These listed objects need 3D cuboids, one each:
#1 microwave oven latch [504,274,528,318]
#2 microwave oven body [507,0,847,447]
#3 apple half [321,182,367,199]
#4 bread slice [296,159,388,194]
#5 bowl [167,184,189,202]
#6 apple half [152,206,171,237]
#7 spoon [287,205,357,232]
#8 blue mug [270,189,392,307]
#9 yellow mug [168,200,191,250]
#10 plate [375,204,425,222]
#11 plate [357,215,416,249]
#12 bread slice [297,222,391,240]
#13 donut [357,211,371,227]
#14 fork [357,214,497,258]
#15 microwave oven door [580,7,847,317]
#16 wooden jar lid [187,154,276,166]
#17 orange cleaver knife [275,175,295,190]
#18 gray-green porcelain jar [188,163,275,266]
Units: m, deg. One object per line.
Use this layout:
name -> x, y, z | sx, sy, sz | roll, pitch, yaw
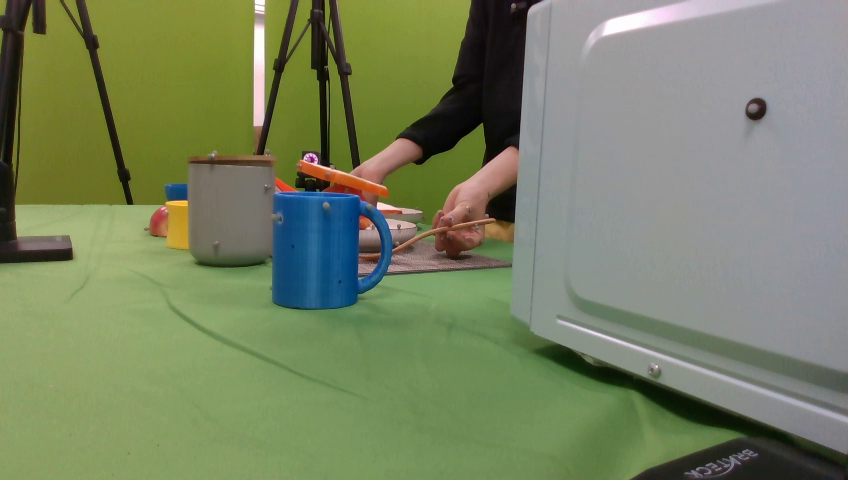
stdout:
microwave oven latch -> 0.100, 0.041, 0.471 | 0.079, 0.029, 0.030 | -1, 8, -28
microwave oven body -> 0.331, -0.042, 0.425 | 0.444, 0.260, 0.324 | -2, 8, -31
apple half -> -0.128, -0.076, 0.949 | 0.081, 0.033, 0.081 | 2, 13, 0
bread slice -> -0.132, -0.102, 0.952 | 0.132, 0.019, 0.104 | 13, 6, -36
bowl -> -0.408, -0.064, 1.154 | 0.151, 0.077, 0.151 | 2, 8, 0
apple half -> -0.415, -0.034, 1.017 | 0.081, 0.053, 0.074 | 1, 10, -8
spoon -> -0.183, -0.044, 1.135 | 0.041, 0.021, 0.194 | 5, 20, 31
blue mug -> -0.090, 0.005, 0.588 | 0.117, 0.106, 0.082 | 1, 7, -11
yellow mug -> -0.319, -0.023, 0.904 | 0.130, 0.064, 0.100 | 8, 10, 36
plate -> -0.102, -0.053, 1.299 | 0.209, 0.038, 0.209 | 2, 8, 0
plate -> -0.116, -0.014, 0.967 | 0.208, 0.039, 0.207 | 2, 7, 0
bread slice -> -0.121, -0.015, 0.969 | 0.106, 0.018, 0.135 | 10, 9, 40
donut -> -0.129, -0.041, 0.956 | 0.099, 0.048, 0.099 | 2, 7, 0
fork -> 0.004, -0.006, 0.828 | 0.208, 0.018, 0.028 | -19, -9, -12
microwave oven door -> 0.295, -0.067, 0.570 | 0.358, 0.243, 0.039 | -3, 9, -31
wooden jar lid -> -0.244, -0.097, 0.771 | 0.108, 0.020, 0.108 | -1, 7, 0
orange cleaver knife -> -0.283, -0.087, 1.343 | 0.212, 0.077, 0.012 | 24, -16, -41
gray-green porcelain jar -> -0.246, -0.034, 0.780 | 0.106, 0.126, 0.106 | 2, 7, 0
